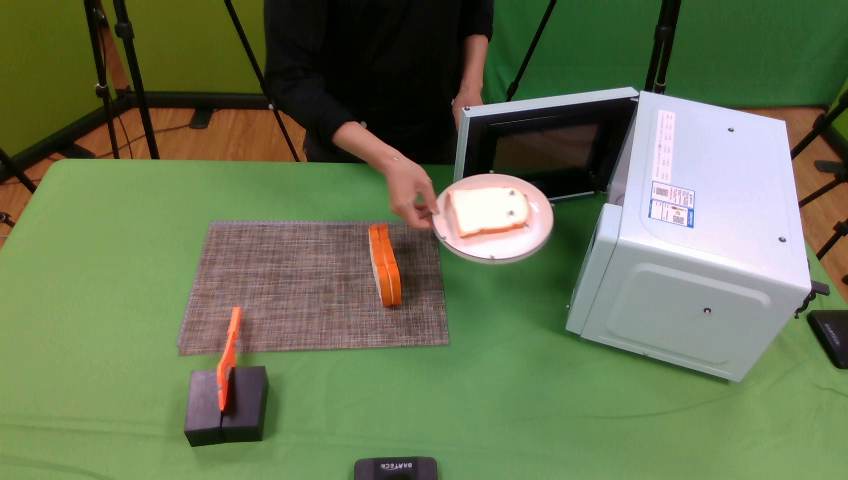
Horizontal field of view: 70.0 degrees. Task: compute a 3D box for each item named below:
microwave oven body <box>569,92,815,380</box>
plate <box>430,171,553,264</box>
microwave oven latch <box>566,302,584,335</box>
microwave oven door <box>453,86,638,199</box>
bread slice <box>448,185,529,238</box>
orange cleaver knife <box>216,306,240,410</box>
[{"bbox_3d":[0.468,-0.021,1.082,0.325,0.261,0.440,15,46,11],"label":"microwave oven body"},{"bbox_3d":[0.114,-0.035,1.041,0.208,0.039,0.206,-2,48,2],"label":"plate"},{"bbox_3d":[0.268,0.126,1.059,0.030,0.029,0.079,16,46,12],"label":"microwave oven latch"},{"bbox_3d":[0.234,-0.177,1.207,0.356,0.245,0.039,-10,48,-13],"label":"microwave oven door"},{"bbox_3d":[0.114,-0.054,1.056,0.134,0.018,0.106,-10,52,-7],"label":"bread slice"},{"bbox_3d":[-0.307,0.180,0.957,0.012,0.077,0.210,-2,25,-8],"label":"orange cleaver knife"}]
